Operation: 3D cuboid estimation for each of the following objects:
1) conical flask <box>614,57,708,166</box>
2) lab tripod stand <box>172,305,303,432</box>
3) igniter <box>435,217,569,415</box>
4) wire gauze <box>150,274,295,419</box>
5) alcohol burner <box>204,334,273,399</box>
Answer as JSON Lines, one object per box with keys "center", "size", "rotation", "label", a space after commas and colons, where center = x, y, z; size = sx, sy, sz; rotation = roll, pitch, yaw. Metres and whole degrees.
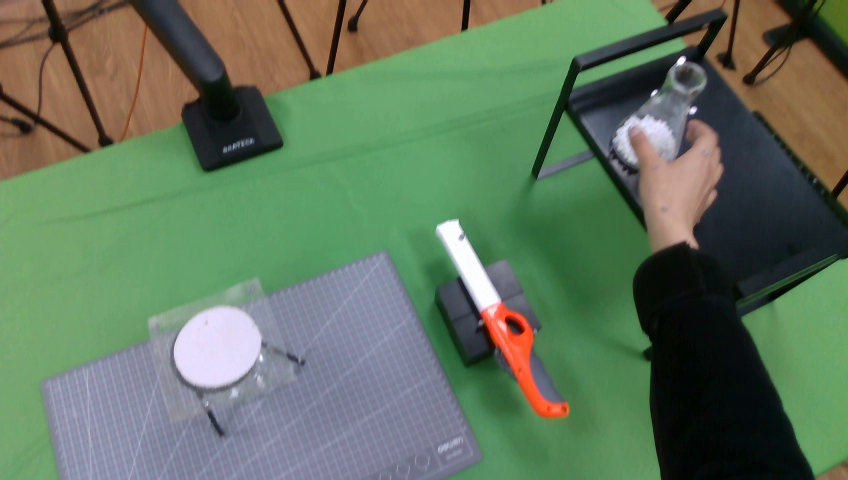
{"center": [0.257, -0.139, 0.646], "size": [0.075, 0.122, 0.075], "rotation": [1, 65, -3], "label": "conical flask"}
{"center": [-0.221, 0.134, 0.684], "size": [0.148, 0.132, 0.147], "rotation": [0, 66, -1], "label": "lab tripod stand"}
{"center": [0.088, 0.087, 0.732], "size": [0.057, 0.025, 0.274], "rotation": [-22, 66, -16], "label": "igniter"}
{"center": [-0.210, 0.107, 0.622], "size": [0.125, 0.011, 0.120], "rotation": [-19, 68, -11], "label": "wire gauze"}
{"center": [-0.216, 0.141, 0.692], "size": [0.078, 0.120, 0.077], "rotation": [1, 67, -1], "label": "alcohol burner"}
